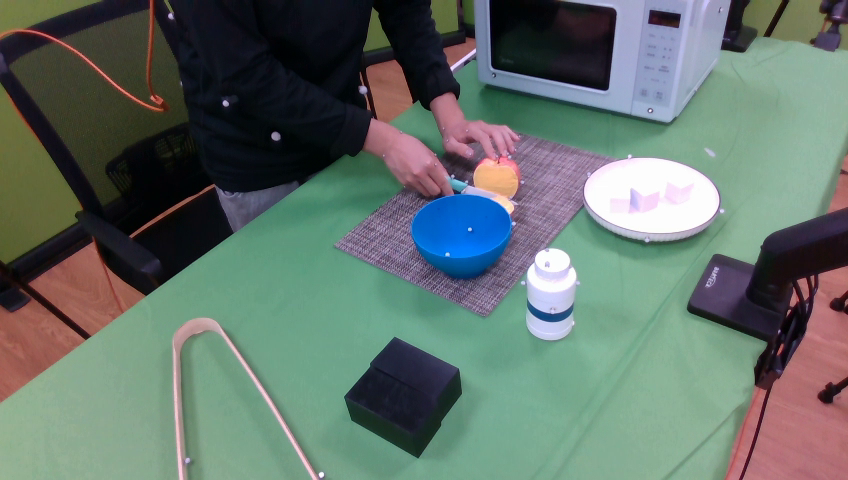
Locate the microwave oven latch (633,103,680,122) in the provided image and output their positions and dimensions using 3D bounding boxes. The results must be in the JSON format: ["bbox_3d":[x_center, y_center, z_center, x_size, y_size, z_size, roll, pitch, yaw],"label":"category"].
[{"bbox_3d":[0.444,-0.249,1.158,0.078,0.029,0.030,21,49,30],"label":"microwave oven latch"}]

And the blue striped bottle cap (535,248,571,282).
[{"bbox_3d":[0.161,0.031,0.753,0.044,0.021,0.044,-4,42,4],"label":"blue striped bottle cap"}]

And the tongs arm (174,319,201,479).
[{"bbox_3d":[-0.272,0.234,0.723,0.051,0.026,0.381,-19,40,-15],"label":"tongs arm"}]

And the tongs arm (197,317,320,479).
[{"bbox_3d":[-0.199,0.207,0.750,0.028,0.028,0.384,-31,45,-22],"label":"tongs arm"}]

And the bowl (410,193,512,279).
[{"bbox_3d":[0.058,0.005,0.905,0.151,0.077,0.150,-4,40,4],"label":"bowl"}]

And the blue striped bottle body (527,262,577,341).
[{"bbox_3d":[0.165,0.070,0.786,0.063,0.121,0.063,-4,41,4],"label":"blue striped bottle body"}]

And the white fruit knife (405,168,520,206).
[{"bbox_3d":[0.065,-0.090,1.039,0.207,0.027,0.016,17,41,11],"label":"white fruit knife"}]

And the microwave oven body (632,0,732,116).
[{"bbox_3d":[0.377,-0.463,1.267,0.438,0.261,0.327,21,49,30],"label":"microwave oven body"}]

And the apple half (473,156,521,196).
[{"bbox_3d":[0.129,-0.108,1.032,0.080,0.075,0.053,5,33,20],"label":"apple half"}]

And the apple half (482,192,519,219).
[{"bbox_3d":[0.117,-0.047,0.983,0.081,0.033,0.081,-6,34,4],"label":"apple half"}]

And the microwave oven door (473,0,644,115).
[{"bbox_3d":[0.257,-0.396,1.199,0.353,0.245,0.039,21,48,29],"label":"microwave oven door"}]

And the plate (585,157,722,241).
[{"bbox_3d":[0.367,-0.063,0.979,0.207,0.039,0.206,-4,40,4],"label":"plate"}]
